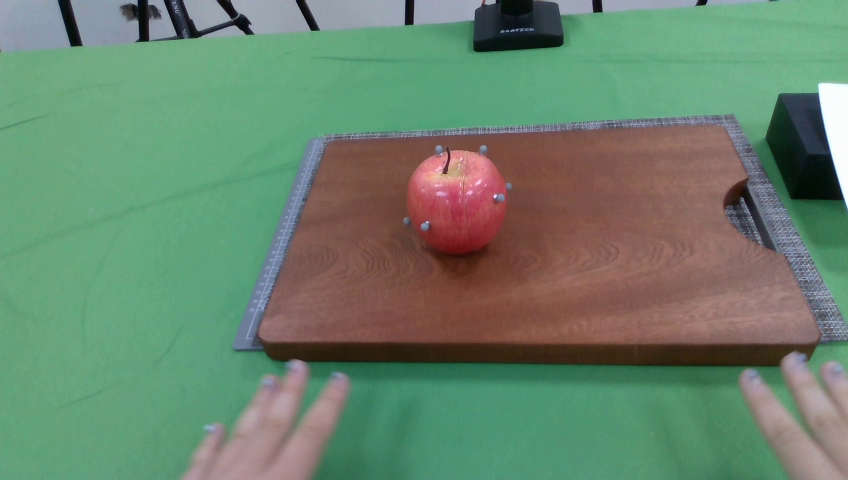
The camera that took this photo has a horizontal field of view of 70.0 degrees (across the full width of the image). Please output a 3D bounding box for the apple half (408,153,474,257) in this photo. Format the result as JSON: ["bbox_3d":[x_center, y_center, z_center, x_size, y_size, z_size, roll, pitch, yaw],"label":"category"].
[{"bbox_3d":[0.014,-0.027,0.493,0.053,0.075,0.080,-4,45,11],"label":"apple half"}]

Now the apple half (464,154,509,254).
[{"bbox_3d":[0.052,-0.029,0.487,0.033,0.082,0.080,-4,43,11],"label":"apple half"}]

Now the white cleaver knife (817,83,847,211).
[{"bbox_3d":[0.367,-0.024,0.477,0.065,0.022,0.284,0,55,13],"label":"white cleaver knife"}]
